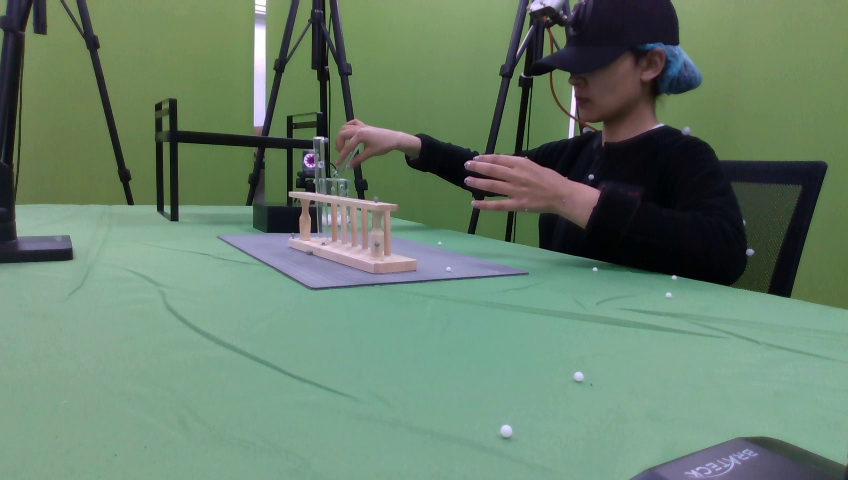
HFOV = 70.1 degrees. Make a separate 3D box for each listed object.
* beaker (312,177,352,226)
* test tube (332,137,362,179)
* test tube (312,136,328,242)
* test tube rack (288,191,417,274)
[{"bbox_3d":[-0.194,-0.081,1.266,0.084,0.100,0.073,-3,9,-29],"label":"beaker"},{"bbox_3d":[-0.167,-0.183,1.324,0.017,0.017,0.150,5,43,17],"label":"test tube"},{"bbox_3d":[-0.146,-0.071,0.850,0.017,0.150,0.017,-1,11,0],"label":"test tube"},{"bbox_3d":[-0.106,-0.017,0.835,0.067,0.085,0.241,-3,9,-37],"label":"test tube rack"}]
